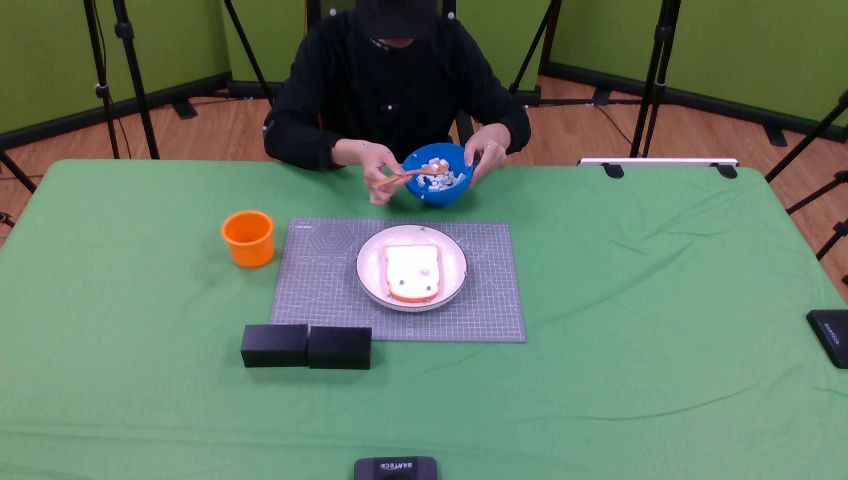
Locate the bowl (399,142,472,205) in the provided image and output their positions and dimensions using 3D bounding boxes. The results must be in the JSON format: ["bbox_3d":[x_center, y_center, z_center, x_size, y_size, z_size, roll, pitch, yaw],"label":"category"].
[{"bbox_3d":[0.030,-0.125,1.252,0.151,0.077,0.150,-7,49,8],"label":"bowl"}]

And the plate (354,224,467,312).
[{"bbox_3d":[-0.025,0.055,1.128,0.209,0.038,0.208,3,46,-2],"label":"plate"}]

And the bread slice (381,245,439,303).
[{"bbox_3d":[-0.022,0.061,1.126,0.107,0.018,0.133,-3,45,-8],"label":"bread slice"}]

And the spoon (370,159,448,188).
[{"bbox_3d":[-0.028,-0.129,1.180,0.194,0.022,0.041,-18,46,-39],"label":"spoon"}]
